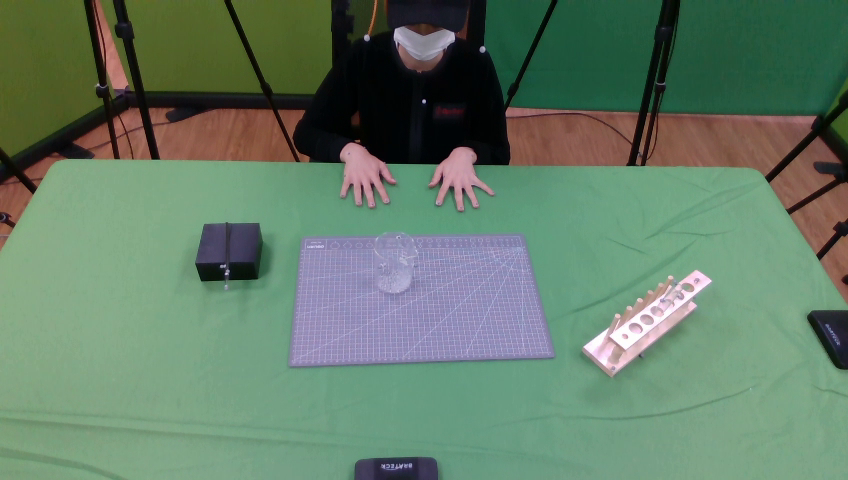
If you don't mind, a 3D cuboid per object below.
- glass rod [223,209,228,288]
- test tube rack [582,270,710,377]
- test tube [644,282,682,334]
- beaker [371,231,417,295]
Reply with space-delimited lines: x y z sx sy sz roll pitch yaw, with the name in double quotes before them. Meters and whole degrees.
"glass rod" -0.360 0.011 1.098 0.008 0.008 0.198 -7 47 -12
"test tube rack" 0.389 0.132 1.057 0.242 0.085 0.066 -28 54 -28
"test tube" 0.389 0.116 1.002 0.017 0.151 0.017 2 53 -3
"beaker" -0.054 0.045 1.093 0.084 0.101 0.073 17 47 10
